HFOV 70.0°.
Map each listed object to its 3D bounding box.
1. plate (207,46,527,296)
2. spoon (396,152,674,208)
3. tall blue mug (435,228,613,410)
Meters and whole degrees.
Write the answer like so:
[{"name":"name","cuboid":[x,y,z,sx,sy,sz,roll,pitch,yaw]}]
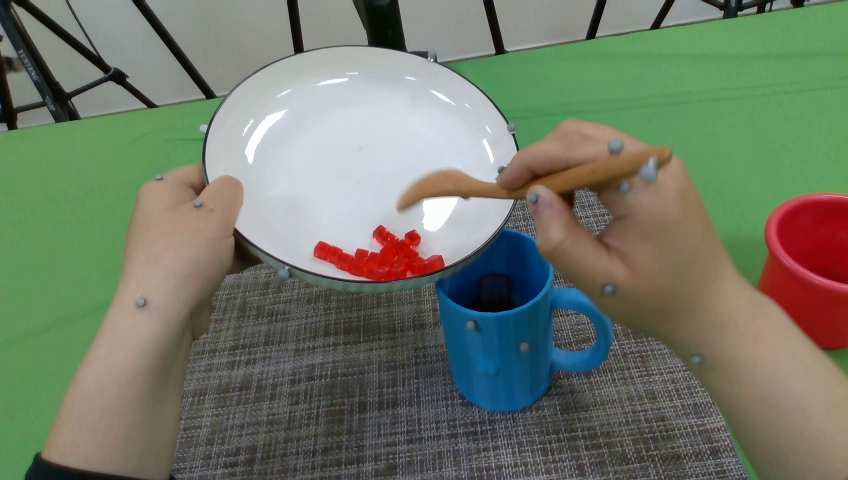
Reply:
[{"name":"plate","cuboid":[-0.036,-0.049,0.412,0.208,0.039,0.205,4,56,-6]},{"name":"spoon","cuboid":[0.040,-0.028,0.295,0.041,0.022,0.192,-31,19,-27]},{"name":"tall blue mug","cuboid":[0.066,0.053,0.417,0.107,0.109,0.077,-13,43,-2]}]
